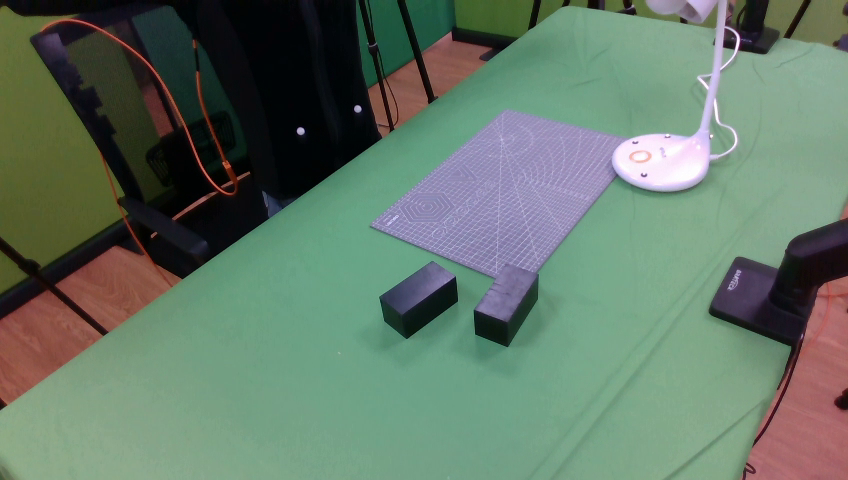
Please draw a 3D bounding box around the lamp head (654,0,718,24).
[{"bbox_3d":[0.356,-0.361,0.788,0.123,0.113,0.111,-51,42,13],"label":"lamp head"}]

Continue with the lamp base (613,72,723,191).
[{"bbox_3d":[0.423,-0.198,1.020,0.179,0.181,0.159,-6,42,-3],"label":"lamp base"}]
